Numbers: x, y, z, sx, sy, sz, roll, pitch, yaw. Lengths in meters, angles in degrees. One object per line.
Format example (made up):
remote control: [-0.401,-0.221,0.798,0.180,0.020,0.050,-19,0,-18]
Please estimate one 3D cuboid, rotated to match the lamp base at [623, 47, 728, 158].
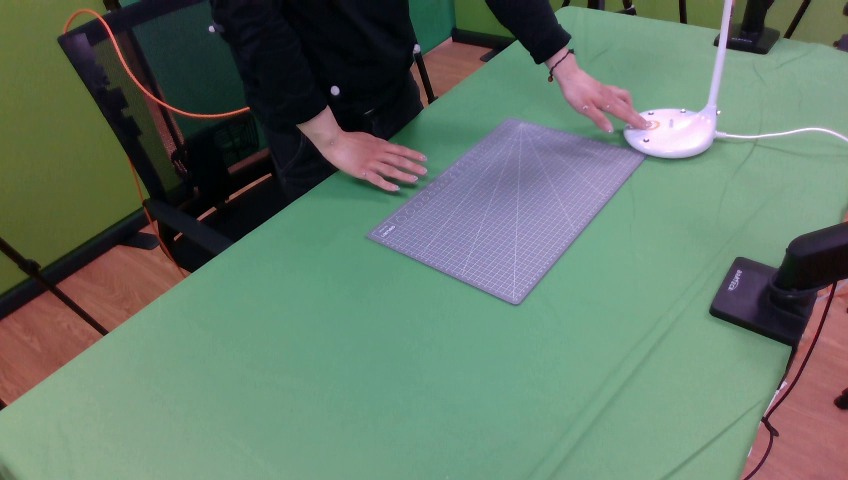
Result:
lamp base: [0.463,-0.261,1.084,0.179,0.181,0.160,3,41,7]
